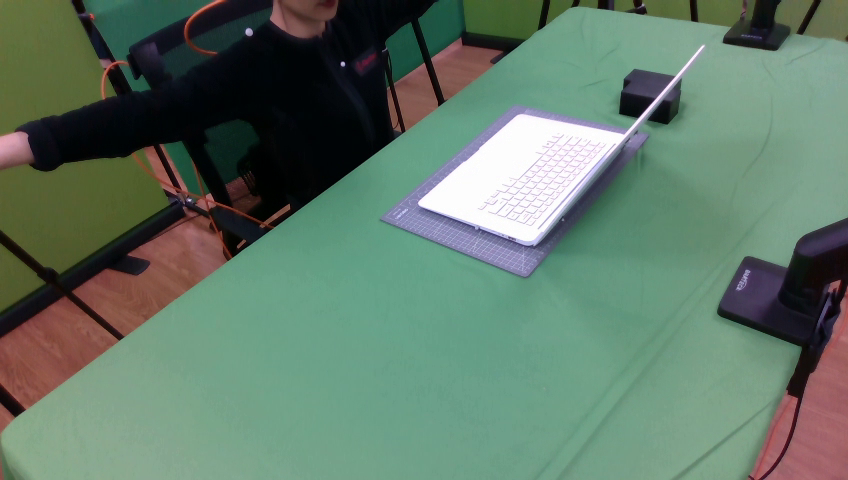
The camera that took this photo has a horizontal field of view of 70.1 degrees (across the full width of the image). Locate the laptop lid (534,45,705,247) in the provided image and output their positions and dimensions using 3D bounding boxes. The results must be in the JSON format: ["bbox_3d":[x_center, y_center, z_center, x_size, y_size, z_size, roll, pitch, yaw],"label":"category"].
[{"bbox_3d":[0.305,-0.146,0.938,0.013,0.241,0.357,40,54,9],"label":"laptop lid"}]

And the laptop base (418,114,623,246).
[{"bbox_3d":[0.183,-0.122,1.094,0.233,0.023,0.355,19,47,34],"label":"laptop base"}]
